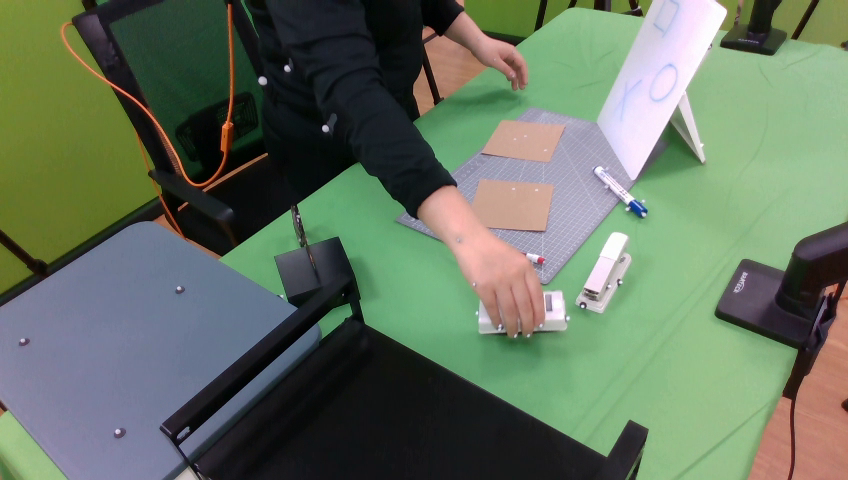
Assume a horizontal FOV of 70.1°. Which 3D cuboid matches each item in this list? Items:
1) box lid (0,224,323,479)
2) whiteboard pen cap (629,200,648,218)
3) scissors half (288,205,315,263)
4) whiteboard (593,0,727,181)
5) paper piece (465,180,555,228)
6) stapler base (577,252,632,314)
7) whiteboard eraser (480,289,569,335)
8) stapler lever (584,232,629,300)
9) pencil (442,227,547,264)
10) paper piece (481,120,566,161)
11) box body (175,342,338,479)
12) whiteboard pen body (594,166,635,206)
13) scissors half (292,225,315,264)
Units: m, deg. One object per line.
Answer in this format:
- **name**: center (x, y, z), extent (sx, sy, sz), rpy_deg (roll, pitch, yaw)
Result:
- **box lid**: center (-0.318, 0.110, 0.671), extent (0.368, 0.015, 0.264), rpy_deg (24, 49, 32)
- **whiteboard pen cap**: center (0.348, -0.051, 0.983), extent (0.018, 0.018, 0.033), rpy_deg (-18, 41, -12)
- **scissors half**: center (-0.191, -0.010, 0.944), extent (0.013, 0.040, 0.173), rpy_deg (-18, 37, -15)
- **whiteboard**: center (0.453, -0.272, 1.055), extent (0.144, 0.305, 0.216), rpy_deg (9, 38, -12)
- **paper piece**: center (0.149, -0.062, 1.034), extent (0.137, 0.009, 0.136), rpy_deg (5, 37, 16)
- **stapler base**: center (0.264, 0.051, 0.875), extent (0.041, 0.024, 0.131), rpy_deg (16, 47, 30)
- **whiteboard eraser**: center (0.129, 0.097, 0.787), extent (0.112, 0.042, 0.055), rpy_deg (-6, 37, 11)
- **stapler lever**: center (0.261, 0.034, 0.858), extent (0.026, 0.040, 0.118), rpy_deg (16, 46, 30)
- **pencil**: center (0.106, 0.005, 0.959), extent (0.192, 0.012, 0.012), rpy_deg (19, 47, 31)
- **paper piece**: center (0.197, -0.199, 1.188), extent (0.135, 0.004, 0.135), rpy_deg (11, 44, 21)
- **box body**: center (-0.311, 0.165, 0.719), extent (0.361, 0.161, 0.255), rpy_deg (23, 49, 32)
- **whiteboard pen body**: center (0.330, -0.085, 1.027), extent (0.017, 0.017, 0.139), rpy_deg (-16, 41, -10)
- **scissors half**: center (-0.188, 0.007, 0.954), extent (0.013, 0.040, 0.174), rpy_deg (-22, 22, -12)
